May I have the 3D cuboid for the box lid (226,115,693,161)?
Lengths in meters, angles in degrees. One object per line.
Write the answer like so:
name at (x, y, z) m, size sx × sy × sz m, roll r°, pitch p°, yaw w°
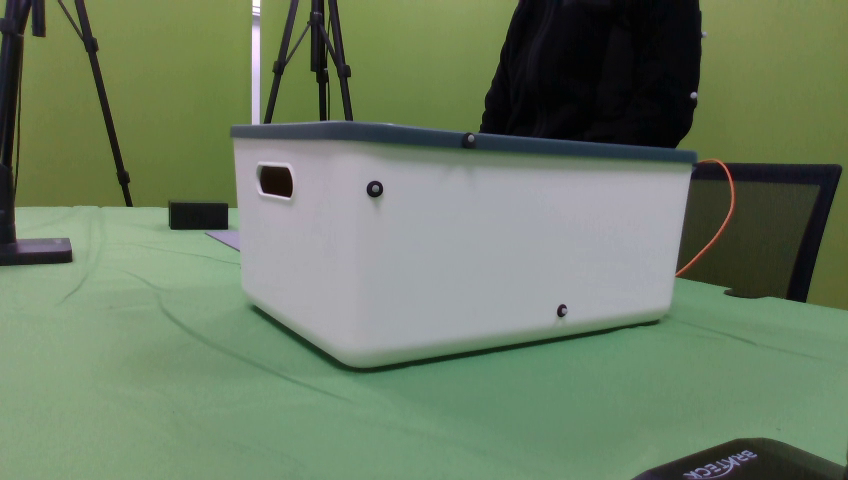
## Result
box lid at (0.031, -0.086, 0.554) m, size 0.373 × 0.015 × 0.262 m, roll -2°, pitch 8°, yaw -33°

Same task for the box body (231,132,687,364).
box body at (0.031, -0.013, 0.563) m, size 0.366 × 0.160 × 0.253 m, roll -3°, pitch 8°, yaw -33°
